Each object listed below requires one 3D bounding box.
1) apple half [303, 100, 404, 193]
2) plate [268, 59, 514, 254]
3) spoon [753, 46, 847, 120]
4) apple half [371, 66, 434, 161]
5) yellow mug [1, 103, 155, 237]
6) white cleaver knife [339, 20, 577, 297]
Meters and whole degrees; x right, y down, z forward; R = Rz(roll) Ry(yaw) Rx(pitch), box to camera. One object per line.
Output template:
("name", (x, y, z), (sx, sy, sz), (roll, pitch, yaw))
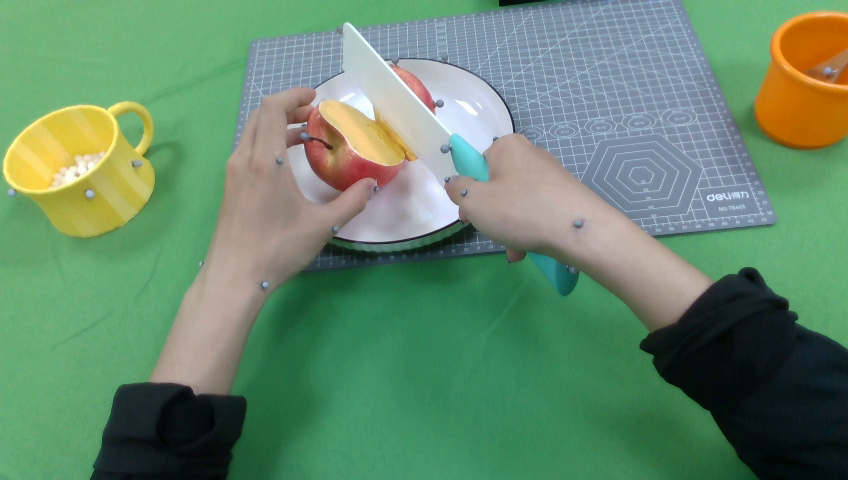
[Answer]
("apple half", (-0.062, -0.069, 0.495), (0.080, 0.053, 0.075), (44, 27, 11))
("plate", (-0.028, -0.072, 0.521), (0.209, 0.038, 0.207), (-3, 57, 5))
("spoon", (0.348, -0.157, 0.463), (0.022, 0.194, 0.041), (20, 46, -32))
("apple half", (-0.014, -0.106, 0.495), (0.033, 0.082, 0.080), (-31, 58, -22))
("yellow mug", (-0.294, -0.073, 0.542), (0.099, 0.064, 0.130), (25, 63, 22))
("white cleaver knife", (0.013, -0.066, 0.448), (0.021, 0.066, 0.284), (-29, 63, -19))
